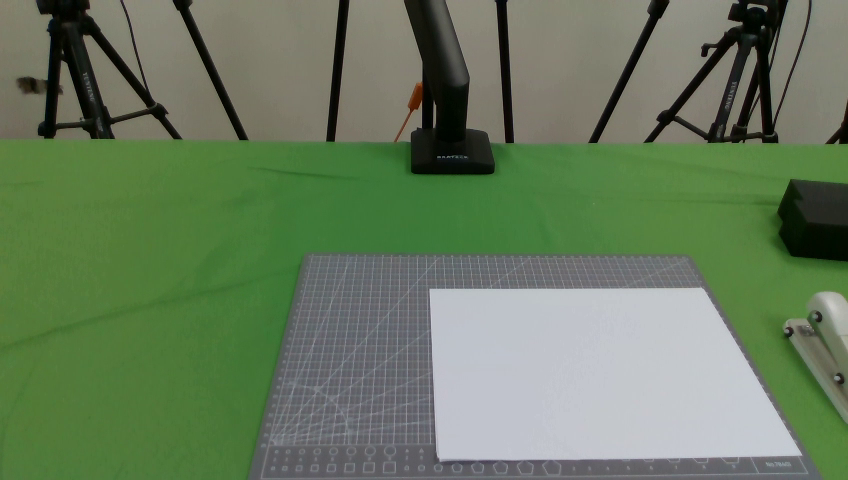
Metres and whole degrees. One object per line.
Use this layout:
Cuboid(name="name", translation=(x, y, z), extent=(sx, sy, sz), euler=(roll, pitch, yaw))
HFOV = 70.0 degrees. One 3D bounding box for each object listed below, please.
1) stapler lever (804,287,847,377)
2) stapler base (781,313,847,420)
Cuboid(name="stapler lever", translation=(0.386, 0.091, 0.551), extent=(0.027, 0.040, 0.117), euler=(-2, 39, 0))
Cuboid(name="stapler base", translation=(0.385, 0.110, 0.568), extent=(0.041, 0.024, 0.129), euler=(-2, 38, 0))
